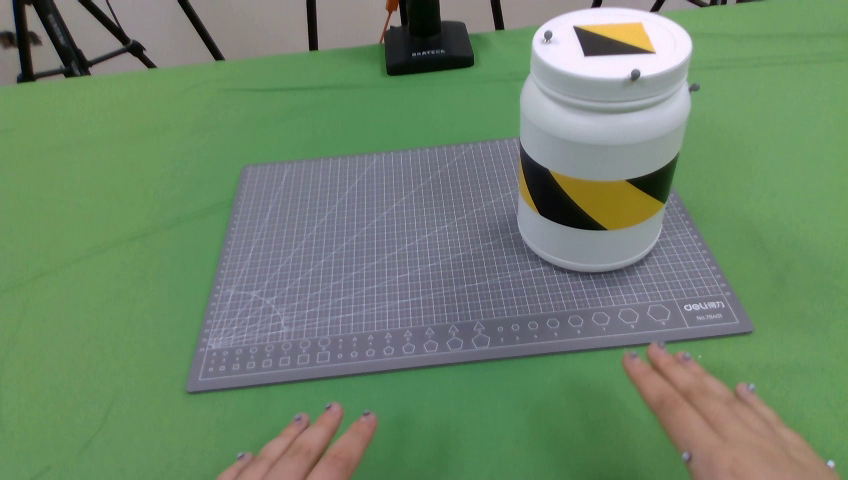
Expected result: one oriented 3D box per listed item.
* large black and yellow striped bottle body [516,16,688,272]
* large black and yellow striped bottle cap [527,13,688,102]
[{"bbox_3d":[0.144,-0.078,0.510,0.131,0.186,0.129,-3,44,4],"label":"large black and yellow striped bottle body"},{"bbox_3d":[0.135,-0.140,0.452,0.115,0.019,0.114,-2,43,3],"label":"large black and yellow striped bottle cap"}]
